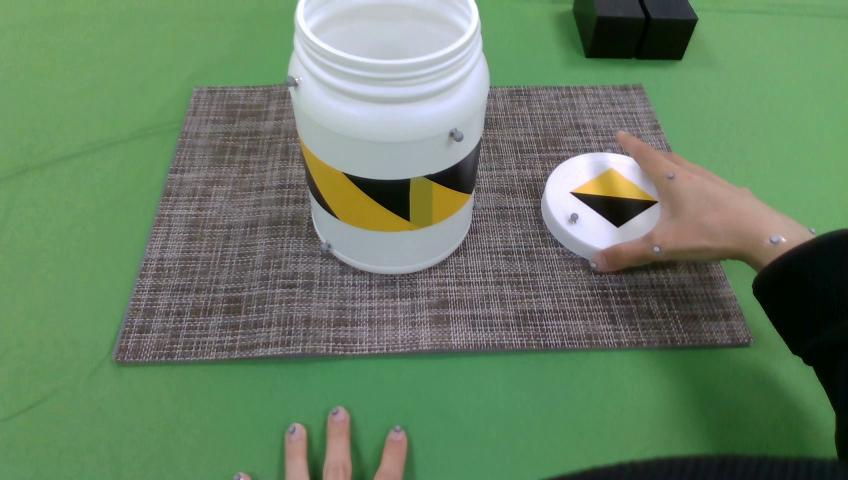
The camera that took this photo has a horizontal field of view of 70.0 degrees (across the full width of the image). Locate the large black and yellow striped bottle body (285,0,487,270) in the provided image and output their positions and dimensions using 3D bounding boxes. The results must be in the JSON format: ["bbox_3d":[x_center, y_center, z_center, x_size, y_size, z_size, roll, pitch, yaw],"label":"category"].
[{"bbox_3d":[-0.025,-0.081,0.428,0.131,0.185,0.129,1,51,-1],"label":"large black and yellow striped bottle body"}]

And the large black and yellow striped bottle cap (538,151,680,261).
[{"bbox_3d":[0.154,-0.031,0.505,0.115,0.019,0.114,2,50,-1],"label":"large black and yellow striped bottle cap"}]
